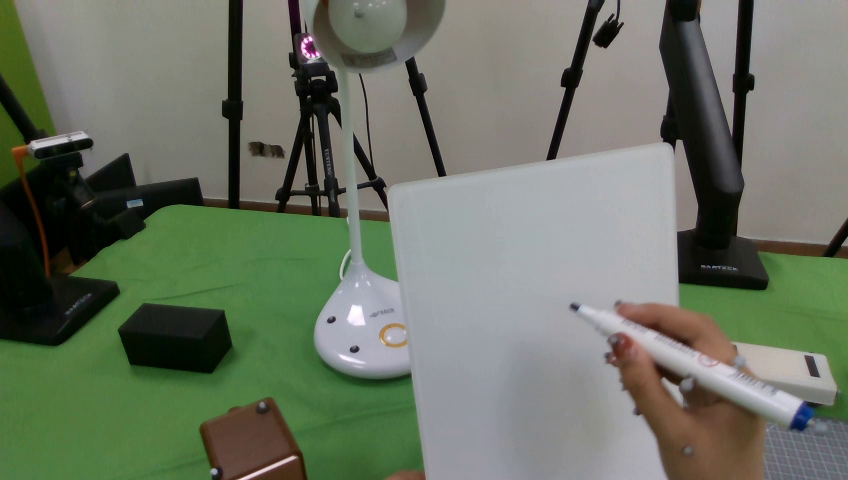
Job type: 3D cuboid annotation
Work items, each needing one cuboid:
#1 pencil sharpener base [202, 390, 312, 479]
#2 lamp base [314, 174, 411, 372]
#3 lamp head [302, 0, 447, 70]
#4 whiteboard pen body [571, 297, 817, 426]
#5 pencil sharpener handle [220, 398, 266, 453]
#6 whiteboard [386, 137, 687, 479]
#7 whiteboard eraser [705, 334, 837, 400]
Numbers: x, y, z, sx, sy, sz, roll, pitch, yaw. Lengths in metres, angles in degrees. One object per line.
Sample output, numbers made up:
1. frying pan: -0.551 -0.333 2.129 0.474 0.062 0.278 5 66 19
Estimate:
1. pencil sharpener base: -0.129 0.185 0.483 0.061 0.108 0.076 -18 34 -24
2. lamp base: -0.057 0.027 0.679 0.161 0.181 0.177 -21 33 -29
3. lamp head: -0.054 -0.216 0.491 0.113 0.113 0.121 -15 57 -20
4. whiteboard pen body: 0.141 0.061 0.336 0.017 0.017 0.139 -27 38 -35
5. pencil sharpener handle: -0.153 0.153 0.516 0.036 0.068 0.030 -26 37 -19
6. whiteboard: 0.082 0.079 0.513 0.218 0.306 0.143 -10 12 -12
7. whiteboard eraser: 0.348 0.131 0.616 0.112 0.042 0.055 6 29 15
